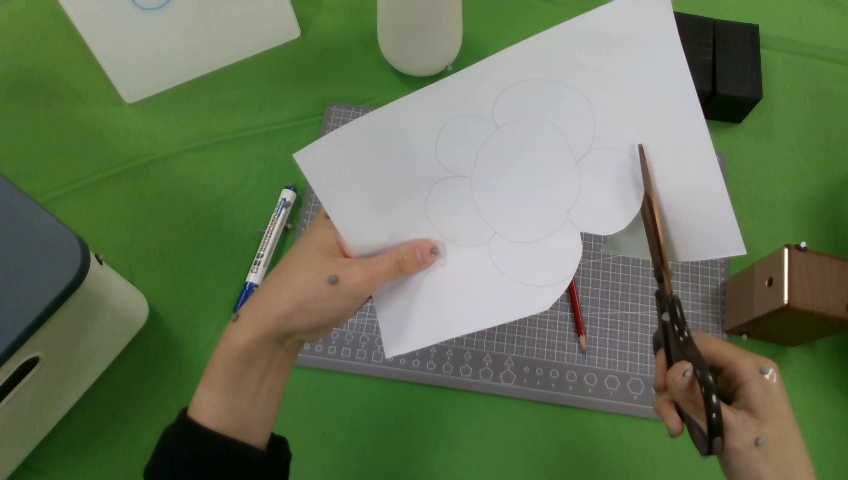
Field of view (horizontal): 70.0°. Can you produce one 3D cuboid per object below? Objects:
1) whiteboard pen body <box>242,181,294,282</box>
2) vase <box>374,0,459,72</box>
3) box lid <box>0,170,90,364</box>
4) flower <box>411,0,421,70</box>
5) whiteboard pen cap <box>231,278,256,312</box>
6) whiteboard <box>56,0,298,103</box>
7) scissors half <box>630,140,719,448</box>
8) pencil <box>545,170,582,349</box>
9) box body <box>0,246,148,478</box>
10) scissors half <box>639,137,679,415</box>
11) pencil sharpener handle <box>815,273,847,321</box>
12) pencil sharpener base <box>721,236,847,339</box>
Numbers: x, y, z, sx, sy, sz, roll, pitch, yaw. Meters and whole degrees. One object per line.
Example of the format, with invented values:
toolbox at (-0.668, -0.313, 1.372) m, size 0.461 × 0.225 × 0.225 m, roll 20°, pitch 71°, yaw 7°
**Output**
whiteboard pen body at (-0.163, 0.001, 0.623) m, size 0.017 × 0.017 × 0.140 m, roll 14°, pitch 68°, yaw 5°
vase at (-0.009, -0.268, 0.630) m, size 0.098 × 0.201 × 0.097 m, roll 0°, pitch 68°, yaw 1°
box lid at (-0.470, 0.006, 0.461) m, size 0.370 × 0.015 × 0.262 m, roll 34°, pitch 72°, yaw 11°
flower at (-0.014, -0.311, 0.557) m, size 0.044 × 0.365 × 0.038 m, roll 1°, pitch 51°, yaw 3°
whiteboard pen cap at (-0.177, 0.053, 0.601) m, size 0.018 × 0.018 × 0.033 m, roll 14°, pitch 66°, yaw 5°
whiteboard at (-0.296, -0.341, 0.629) m, size 0.217 × 0.308 × 0.142 m, roll -25°, pitch 52°, yaw -9°
scissors half at (0.137, 0.028, 0.336) m, size 0.013 × 0.040 × 0.174 m, roll -12°, pitch 84°, yaw 1°
pencil at (0.145, 0.016, 0.625) m, size 0.012 × 0.012 × 0.192 m, roll -5°, pitch 72°, yaw -2°
box body at (-0.469, 0.034, 0.530) m, size 0.362 × 0.161 × 0.253 m, roll 34°, pitch 73°, yaw 11°
scissors half at (0.138, 0.025, 0.358) m, size 0.013 × 0.040 × 0.176 m, roll -11°, pitch 110°, yaw 6°
pencil sharpener handle at (0.389, 0.056, 0.552) m, size 0.030 × 0.068 × 0.035 m, roll 12°, pitch 63°, yaw 1°
pencil sharpener base at (0.339, 0.048, 0.564) m, size 0.077 × 0.107 × 0.061 m, roll 12°, pitch 69°, yaw 1°
